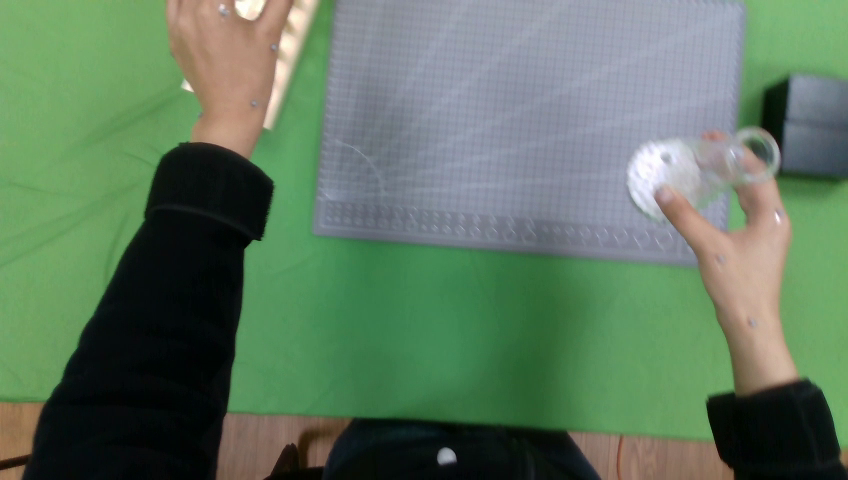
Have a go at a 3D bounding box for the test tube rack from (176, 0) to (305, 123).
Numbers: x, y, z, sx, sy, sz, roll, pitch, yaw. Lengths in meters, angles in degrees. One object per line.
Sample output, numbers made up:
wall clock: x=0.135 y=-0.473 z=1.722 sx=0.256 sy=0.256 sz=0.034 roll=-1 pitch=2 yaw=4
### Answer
test tube rack: x=-0.165 y=-0.251 z=0.612 sx=0.067 sy=0.085 sz=0.242 roll=18 pitch=89 yaw=-1

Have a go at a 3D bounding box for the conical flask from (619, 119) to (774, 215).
conical flask: x=0.208 y=-0.060 z=0.461 sx=0.075 sy=0.121 sz=0.075 roll=0 pitch=88 yaw=-9
